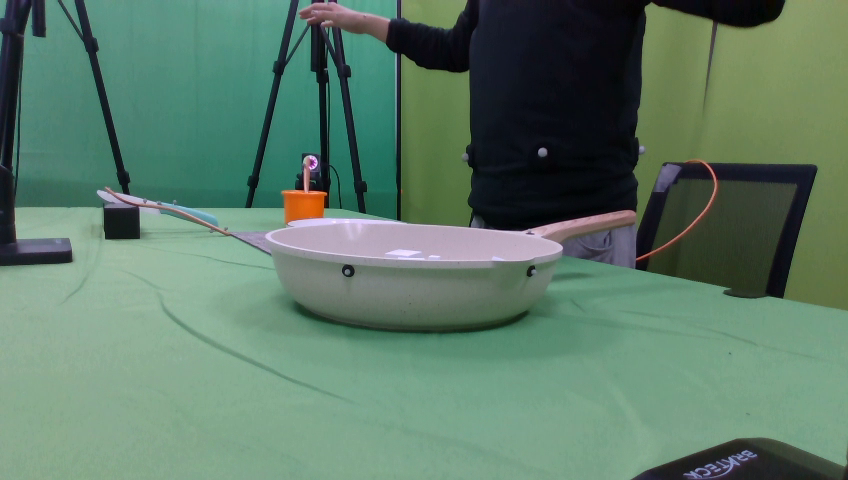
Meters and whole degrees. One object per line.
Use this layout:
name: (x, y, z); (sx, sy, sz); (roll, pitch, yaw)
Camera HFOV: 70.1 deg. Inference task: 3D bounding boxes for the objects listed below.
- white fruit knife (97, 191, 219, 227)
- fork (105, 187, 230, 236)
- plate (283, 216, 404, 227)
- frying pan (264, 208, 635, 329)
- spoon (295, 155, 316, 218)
white fruit knife: (-0.468, -0.056, 1.079); (0.208, 0.027, 0.016); (15, -2, -29)
fork: (-0.428, -0.047, 1.020); (0.208, 0.018, 0.028); (19, -8, -26)
plate: (-0.119, -0.009, 0.968); (0.208, 0.039, 0.207); (3, 7, 0)
frying pan: (0.075, 0.007, 0.666); (0.490, 0.102, 0.305); (-12, 15, -33)
spoon: (-0.247, -0.108, 1.261); (0.042, 0.021, 0.193); (4, 47, -15)
